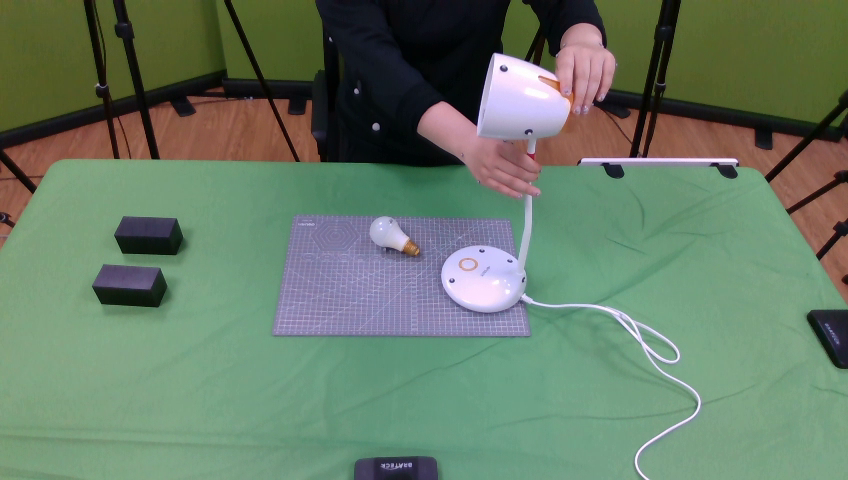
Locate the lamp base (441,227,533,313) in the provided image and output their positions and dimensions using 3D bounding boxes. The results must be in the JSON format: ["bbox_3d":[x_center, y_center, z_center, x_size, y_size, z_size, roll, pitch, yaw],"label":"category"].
[{"bbox_3d":[0.126,0.022,1.072,0.179,0.181,0.160,23,49,14],"label":"lamp base"}]

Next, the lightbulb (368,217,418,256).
[{"bbox_3d":[-0.058,-0.002,1.173,0.107,0.060,0.059,32,50,5],"label":"lightbulb"}]

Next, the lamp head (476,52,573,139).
[{"bbox_3d":[0.135,-0.182,0.815,0.123,0.113,0.112,13,45,-6],"label":"lamp head"}]
